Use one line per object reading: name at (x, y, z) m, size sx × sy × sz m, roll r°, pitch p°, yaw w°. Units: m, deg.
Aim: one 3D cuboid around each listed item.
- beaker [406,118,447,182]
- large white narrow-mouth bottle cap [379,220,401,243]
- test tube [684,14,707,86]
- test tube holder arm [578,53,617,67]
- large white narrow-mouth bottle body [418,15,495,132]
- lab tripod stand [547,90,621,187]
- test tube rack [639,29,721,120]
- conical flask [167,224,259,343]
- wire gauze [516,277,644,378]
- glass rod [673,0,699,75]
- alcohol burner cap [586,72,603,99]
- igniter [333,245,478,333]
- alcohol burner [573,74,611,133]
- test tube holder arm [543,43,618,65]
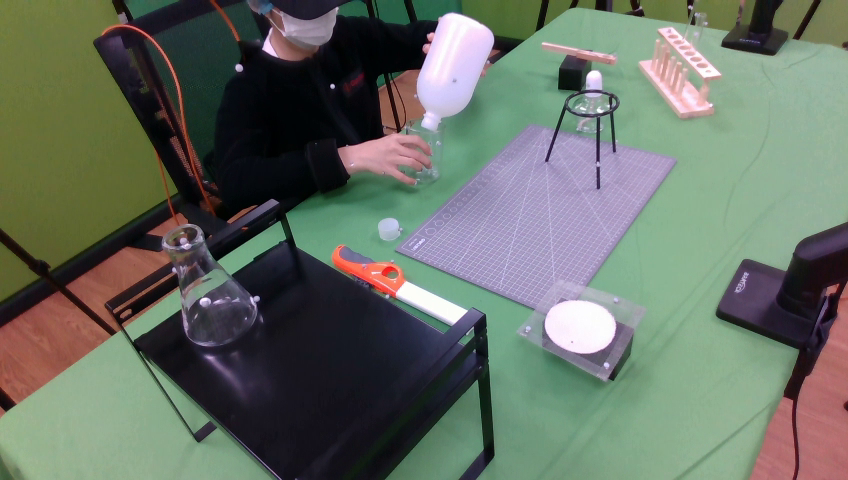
beaker at (0.004, -0.165, 1.110) m, size 0.073 × 0.100 × 0.084 m, roll 21°, pitch 34°, yaw 25°
large white narrow-mouth bottle cap at (-0.057, -0.015, 1.011) m, size 0.038 × 0.024 × 0.037 m, roll -4°, pitch 40°, yaw 4°
test tube at (0.541, -0.379, 1.216) m, size 0.017 × 0.151 × 0.017 m, roll -2°, pitch 44°, yaw 2°
test tube holder arm at (0.376, -0.393, 1.314) m, size 0.087 × 0.015 × 0.010 m, roll 26°, pitch 51°, yaw 32°
large white narrow-mouth bottle body at (0.046, -0.287, 1.072) m, size 0.102 × 0.194 × 0.101 m, roll 22°, pitch 8°, yaw -3°
lab tripod stand at (0.289, -0.184, 1.062) m, size 0.148 × 0.132 × 0.147 m, roll -6°, pitch 41°, yaw 6°
test tube rack at (0.527, -0.351, 1.262) m, size 0.067 × 0.085 × 0.241 m, roll -8°, pitch 40°, yaw 1°
conical flask at (-0.220, 0.041, 0.613) m, size 0.075 × 0.122 × 0.075 m, roll -5°, pitch 40°, yaw 4°
wire gauze at (0.197, 0.103, 0.765) m, size 0.124 × 0.011 × 0.122 m, roll 23°, pitch 50°, yaw 31°
glass rod at (0.541, -0.427, 1.246) m, size 0.008 × 0.200 × 0.008 m, roll 0°, pitch 48°, yaw 1°
alcohol burner cap at (0.325, -0.297, 1.154) m, size 0.034 × 0.048 × 0.033 m, roll -8°, pitch 35°, yaw 6°
igniter at (-0.038, 0.068, 0.905) m, size 0.274 × 0.025 × 0.057 m, roll 24°, pitch 60°, yaw 32°
alcohol burner at (0.330, -0.270, 1.177) m, size 0.078 × 0.119 × 0.077 m, roll -4°, pitch 43°, yaw 4°
test tube holder arm at (0.345, -0.413, 1.341) m, size 0.177 × 0.015 × 0.013 m, roll 25°, pitch 50°, yaw 31°
